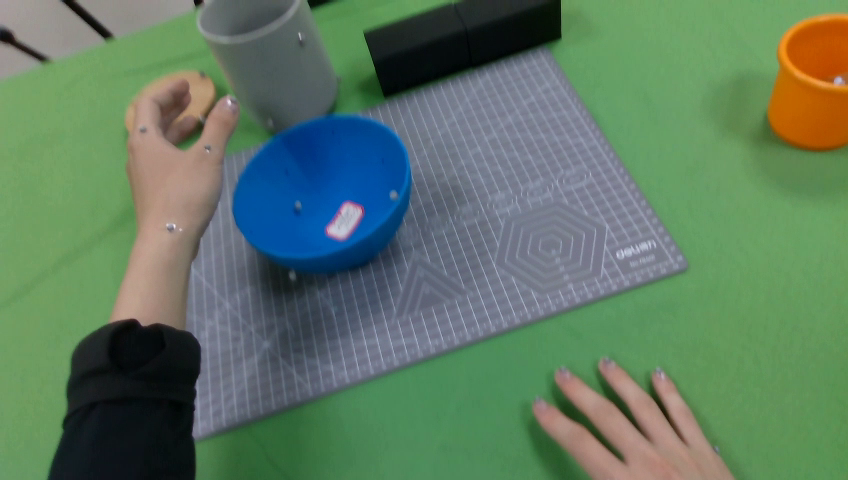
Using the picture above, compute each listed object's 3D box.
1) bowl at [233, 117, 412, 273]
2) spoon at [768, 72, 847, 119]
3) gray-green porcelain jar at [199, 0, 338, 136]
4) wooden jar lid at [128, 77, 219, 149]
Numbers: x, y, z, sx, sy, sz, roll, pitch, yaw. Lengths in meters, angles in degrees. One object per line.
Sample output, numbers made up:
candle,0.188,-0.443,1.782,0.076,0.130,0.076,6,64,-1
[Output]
bowl,-0.077,-0.025,0.523,0.151,0.077,0.150,-6,54,9
spoon,0.358,-0.138,0.457,0.022,0.193,0.041,38,60,-15
gray-green porcelain jar,-0.152,-0.179,0.623,0.106,0.128,0.105,-7,54,9
wooden jar lid,-0.286,-0.145,0.698,0.108,0.021,0.107,-5,54,8
